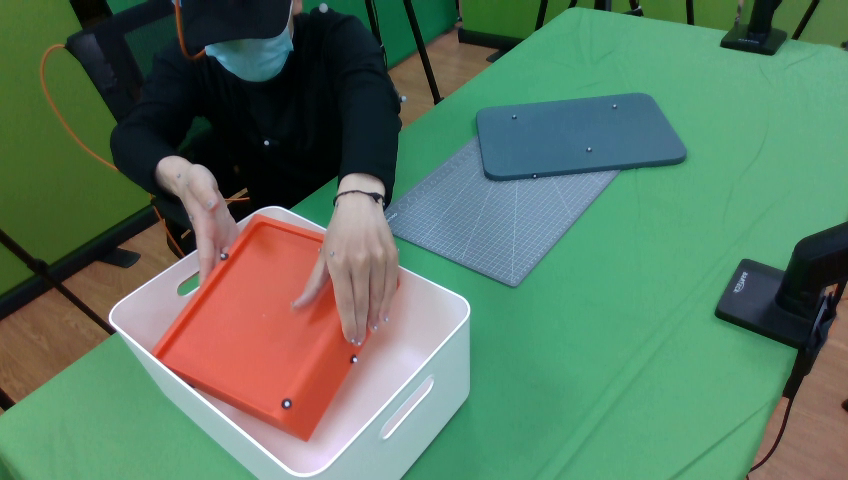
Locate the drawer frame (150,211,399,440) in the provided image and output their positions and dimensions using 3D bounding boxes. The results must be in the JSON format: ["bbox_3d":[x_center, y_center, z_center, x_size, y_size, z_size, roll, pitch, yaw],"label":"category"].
[{"bbox_3d":[-0.167,0.089,0.700,0.200,0.083,0.213,16,60,24],"label":"drawer frame"}]

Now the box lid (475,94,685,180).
[{"bbox_3d":[0.288,-0.207,1.181,0.371,0.015,0.262,-5,40,2],"label":"box lid"}]

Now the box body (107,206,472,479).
[{"bbox_3d":[-0.148,0.136,0.725,0.361,0.161,0.255,24,49,31],"label":"box body"}]

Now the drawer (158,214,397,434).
[{"bbox_3d":[-0.166,0.088,0.704,0.193,0.074,0.211,17,62,24],"label":"drawer"}]

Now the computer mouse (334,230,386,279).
[{"bbox_3d":[-0.104,0.024,0.744,0.117,0.041,0.062,-14,44,8],"label":"computer mouse"}]
